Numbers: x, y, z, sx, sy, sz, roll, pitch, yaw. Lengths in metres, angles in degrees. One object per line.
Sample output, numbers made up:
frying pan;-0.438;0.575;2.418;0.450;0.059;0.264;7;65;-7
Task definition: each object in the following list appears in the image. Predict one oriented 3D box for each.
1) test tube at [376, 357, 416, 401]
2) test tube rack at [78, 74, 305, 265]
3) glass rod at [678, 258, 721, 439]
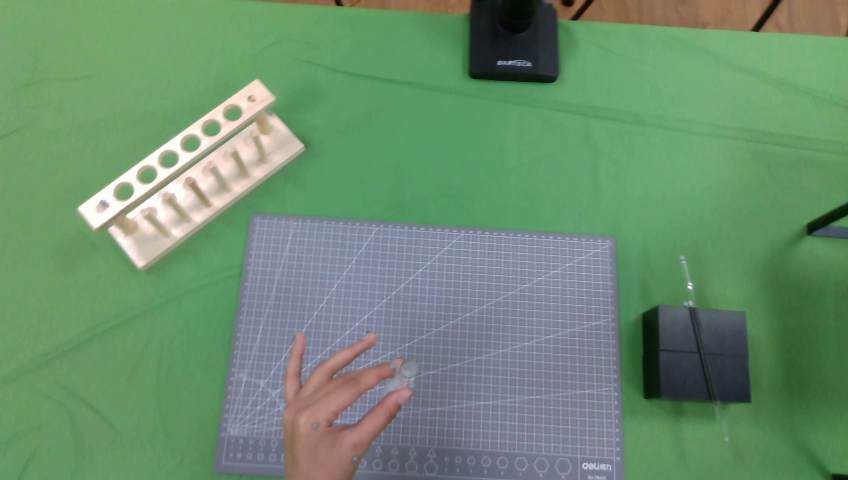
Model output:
test tube;-0.027;0.125;0.535;0.017;0.151;0.017;4;67;-10
test tube rack;-0.261;-0.081;0.708;0.242;0.085;0.066;-40;78;-12
glass rod;0.303;0.116;0.669;0.008;0.008;0.198;-5;75;-4
